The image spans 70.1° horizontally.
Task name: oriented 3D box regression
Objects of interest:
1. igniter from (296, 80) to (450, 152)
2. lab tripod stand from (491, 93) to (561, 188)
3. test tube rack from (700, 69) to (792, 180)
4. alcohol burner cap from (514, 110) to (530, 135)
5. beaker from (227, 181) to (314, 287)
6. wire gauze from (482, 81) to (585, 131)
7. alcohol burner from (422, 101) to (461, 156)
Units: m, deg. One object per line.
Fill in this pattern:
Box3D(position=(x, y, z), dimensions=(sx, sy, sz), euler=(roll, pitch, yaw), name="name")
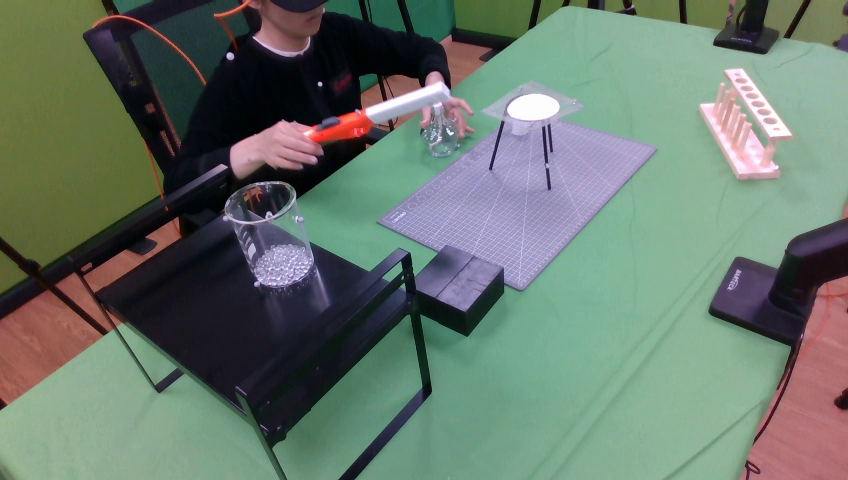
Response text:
Box3D(position=(-0.088, -0.187, 0.934), dimensions=(0.275, 0.058, 0.025), euler=(-15, 66, 25), name="igniter")
Box3D(position=(0.189, -0.180, 1.066), dimensions=(0.148, 0.132, 0.147), euler=(-5, 42, 5), name="lab tripod stand")
Box3D(position=(0.572, -0.215, 1.090), dimensions=(0.066, 0.085, 0.241), euler=(-3, 41, 7), name="test tube rack")
Box3D(position=(0.194, -0.235, 1.200), dimensions=(0.034, 0.048, 0.033), euler=(-5, 42, 5), name="alcohol burner cap")
Box3D(position=(-0.166, -0.006, 0.670), dimensions=(0.074, 0.101, 0.083), euler=(-8, 40, 0), name="beaker")
Box3D(position=(0.183, -0.224, 1.015), dimensions=(0.125, 0.011, 0.120), euler=(-32, 46, -23), name="wire gauze")
Box3D(position=(0.032, -0.223, 1.160), dimensions=(0.078, 0.119, 0.077), euler=(-4, 39, 4), name="alcohol burner")
